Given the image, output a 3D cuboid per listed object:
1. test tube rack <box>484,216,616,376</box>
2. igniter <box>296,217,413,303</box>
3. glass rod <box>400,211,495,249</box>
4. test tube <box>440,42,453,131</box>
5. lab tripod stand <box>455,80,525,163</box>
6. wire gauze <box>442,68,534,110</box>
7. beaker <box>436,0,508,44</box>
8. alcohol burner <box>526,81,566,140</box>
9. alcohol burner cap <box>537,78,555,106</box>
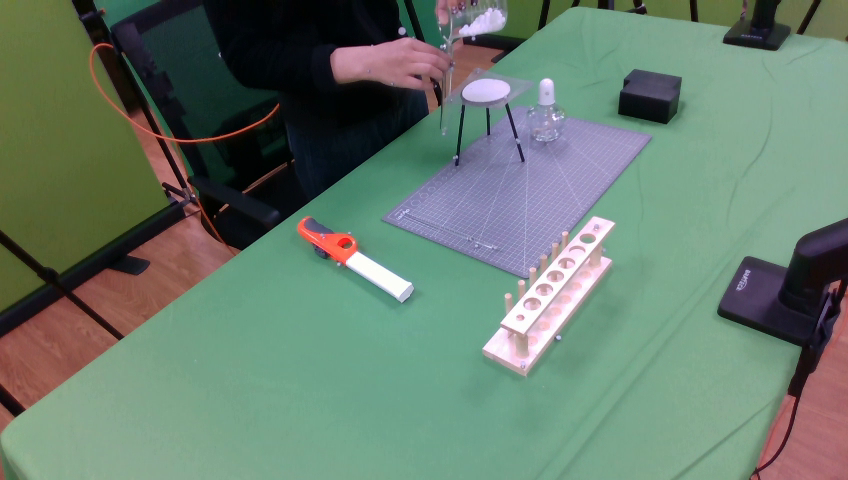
[{"bbox_3d":[0.174,0.064,0.823,0.066,0.085,0.243,23,49,33],"label":"test tube rack"},{"bbox_3d":[-0.121,0.025,0.970,0.274,0.025,0.057,29,63,37],"label":"igniter"},{"bbox_3d":[0.035,-0.018,1.001,0.198,0.008,0.008,21,49,35],"label":"glass rod"},{"bbox_3d":[0.038,-0.257,1.025,0.017,0.150,0.017,2,30,0],"label":"test tube"},{"bbox_3d":[0.120,-0.219,1.126,0.148,0.132,0.147,-4,40,4],"label":"lab tripod stand"},{"bbox_3d":[0.114,-0.269,1.081,0.120,0.011,0.125,21,48,29],"label":"wire gauze"},{"bbox_3d":[0.078,-0.366,0.979,0.100,0.084,0.073,-13,30,-12],"label":"beaker"},{"bbox_3d":[0.235,-0.252,1.159,0.078,0.119,0.077,-4,42,4],"label":"alcohol burner"},{"bbox_3d":[0.229,-0.279,1.136,0.034,0.048,0.033,-6,33,4],"label":"alcohol burner cap"}]
